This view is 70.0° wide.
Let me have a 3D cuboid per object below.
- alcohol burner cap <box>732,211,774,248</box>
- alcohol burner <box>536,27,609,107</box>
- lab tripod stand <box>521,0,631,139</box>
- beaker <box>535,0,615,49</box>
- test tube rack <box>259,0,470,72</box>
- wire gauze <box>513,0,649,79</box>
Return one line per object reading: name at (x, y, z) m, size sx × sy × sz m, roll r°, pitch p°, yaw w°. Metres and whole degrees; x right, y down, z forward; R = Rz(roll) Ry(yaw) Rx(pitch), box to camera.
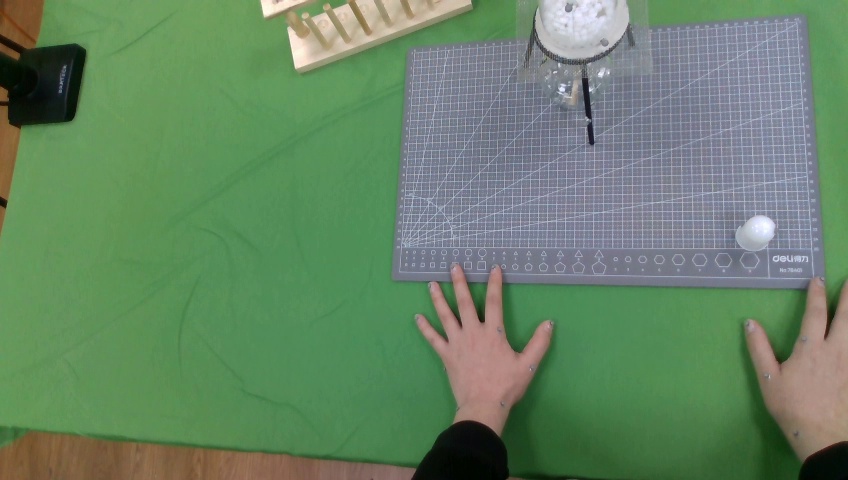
alcohol burner cap at (0.328, -0.013, 0.602) m, size 0.034 × 0.048 × 0.033 m, roll -3°, pitch 77°, yaw 14°
alcohol burner at (0.159, -0.191, 0.647) m, size 0.078 × 0.120 × 0.077 m, roll -3°, pitch 77°, yaw 13°
lab tripod stand at (0.164, -0.196, 0.637) m, size 0.148 × 0.132 × 0.147 m, roll -3°, pitch 79°, yaw 13°
beaker at (0.129, -0.222, 0.531) m, size 0.083 × 0.101 × 0.074 m, roll 14°, pitch 83°, yaw 18°
test tube rack at (-0.073, -0.296, 0.751) m, size 0.242 × 0.086 × 0.066 m, roll -17°, pitch 74°, yaw 11°
wire gauze at (0.147, -0.211, 0.575) m, size 0.125 × 0.011 × 0.121 m, roll 0°, pitch 82°, yaw 13°
